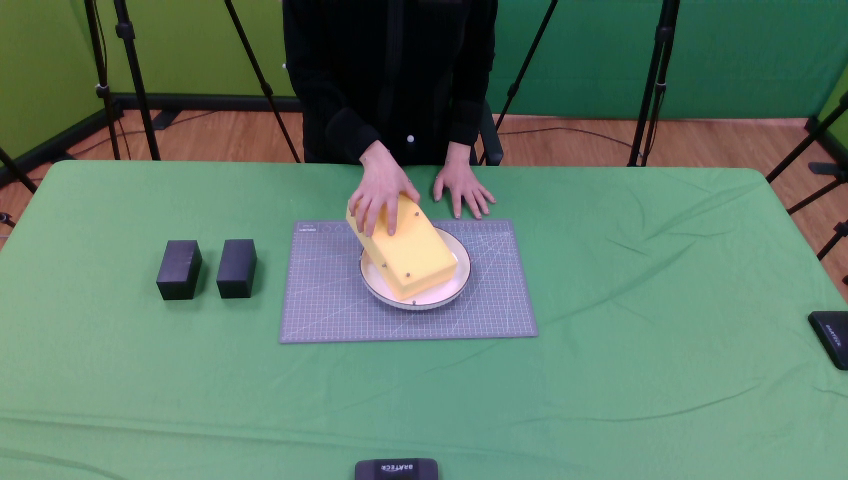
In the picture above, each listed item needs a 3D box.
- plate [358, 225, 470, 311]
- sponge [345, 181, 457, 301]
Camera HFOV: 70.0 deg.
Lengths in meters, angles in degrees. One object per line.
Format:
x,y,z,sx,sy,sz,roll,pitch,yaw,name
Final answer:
-0.019,0.052,1.132,0.209,0.038,0.208,2,46,-2,plate
-0.047,-0.001,1.126,0.118,0.061,0.206,-24,65,-25,sponge
